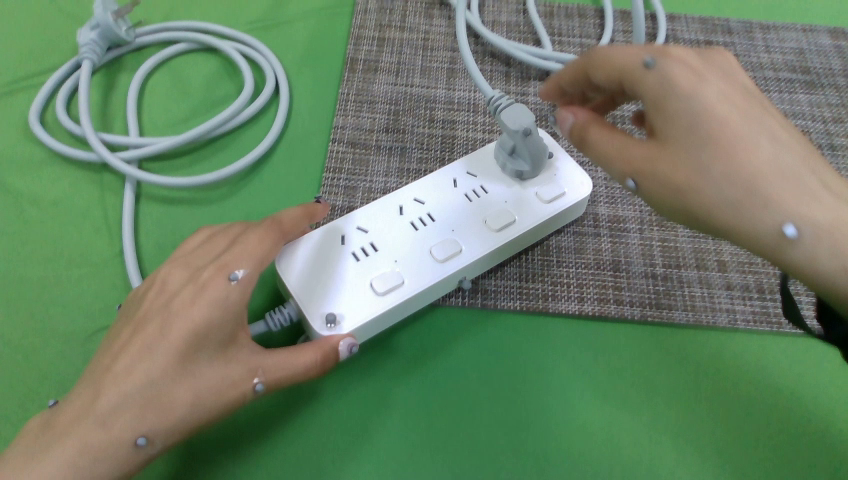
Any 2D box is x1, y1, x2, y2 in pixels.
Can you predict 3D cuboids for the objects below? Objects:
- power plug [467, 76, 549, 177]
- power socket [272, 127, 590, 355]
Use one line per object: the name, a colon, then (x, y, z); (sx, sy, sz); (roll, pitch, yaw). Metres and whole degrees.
power plug: (0.056, -0.073, 0.407); (0.035, 0.053, 0.072); (-18, 62, -15)
power socket: (0.010, -0.007, 0.389); (0.227, 0.033, 0.071); (-28, 64, -20)
